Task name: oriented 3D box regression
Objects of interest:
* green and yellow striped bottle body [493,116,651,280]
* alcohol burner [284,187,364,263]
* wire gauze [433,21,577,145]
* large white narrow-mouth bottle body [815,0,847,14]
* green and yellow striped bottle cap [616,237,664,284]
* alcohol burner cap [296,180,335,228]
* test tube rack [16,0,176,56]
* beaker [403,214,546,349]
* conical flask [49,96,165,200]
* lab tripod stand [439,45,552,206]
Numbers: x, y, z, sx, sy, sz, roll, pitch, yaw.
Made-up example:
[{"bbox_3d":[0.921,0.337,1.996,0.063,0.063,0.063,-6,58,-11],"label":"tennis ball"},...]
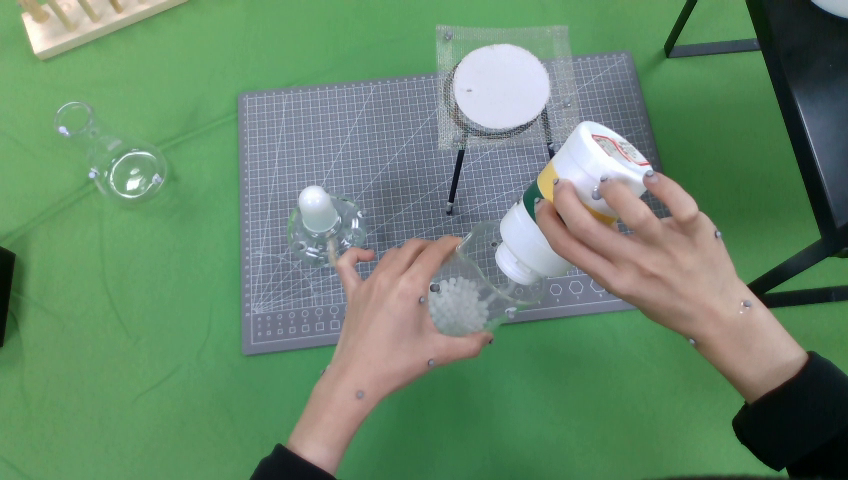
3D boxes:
[{"bbox_3d":[0.098,-0.024,0.433,0.063,0.120,0.062,24,36,-18],"label":"green and yellow striped bottle body"},{"bbox_3d":[-0.097,-0.021,0.575,0.078,0.120,0.077,0,69,0],"label":"alcohol burner"},{"bbox_3d":[0.069,-0.142,0.531,0.121,0.011,0.124,-1,71,-1],"label":"wire gauze"},{"bbox_3d":[0.352,-0.257,0.417,0.102,0.196,0.101,0,69,1],"label":"large white narrow-mouth bottle body"},{"bbox_3d":[0.216,0.020,0.605,0.045,0.020,0.045,-1,71,3],"label":"green and yellow striped bottle cap"},{"bbox_3d":[-0.099,-0.035,0.542,0.034,0.048,0.033,1,64,-1],"label":"alcohol burner cap"},{"bbox_3d":[-0.362,-0.309,0.697,0.242,0.086,0.066,-26,73,-7],"label":"test tube rack"},{"bbox_3d":[0.034,0.037,0.483,0.084,0.100,0.073,16,49,-30],"label":"beaker"},{"bbox_3d":[-0.318,-0.095,0.604,0.075,0.122,0.075,0,70,2],"label":"conical flask"},{"bbox_3d":[0.064,-0.114,0.593,0.148,0.132,0.147,0,69,0],"label":"lab tripod stand"}]
